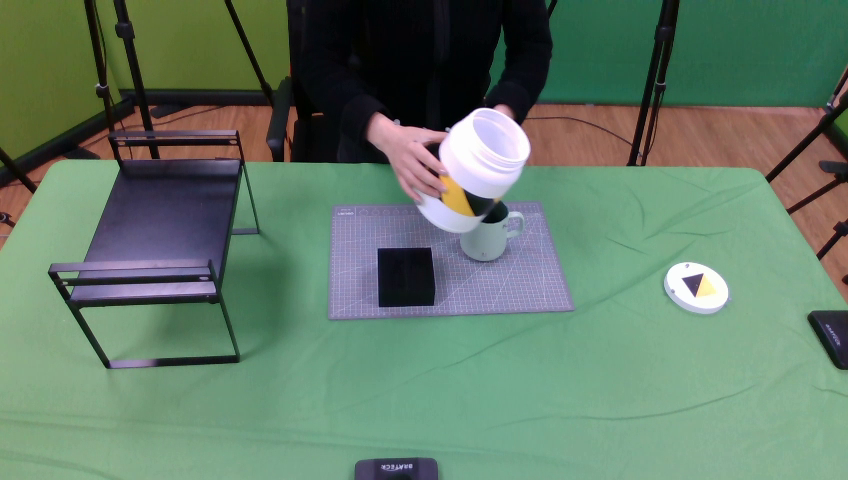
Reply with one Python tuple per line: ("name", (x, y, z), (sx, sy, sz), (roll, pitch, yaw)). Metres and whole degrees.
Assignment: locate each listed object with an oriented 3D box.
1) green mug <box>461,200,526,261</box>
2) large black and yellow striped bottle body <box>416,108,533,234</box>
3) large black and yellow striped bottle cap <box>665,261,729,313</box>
("green mug", (0.136, -0.024, 1.168), (0.125, 0.105, 0.092), (-7, 47, -10))
("large black and yellow striped bottle body", (0.081, -0.111, 0.979), (0.131, 0.184, 0.130), (17, 49, -20))
("large black and yellow striped bottle cap", (0.518, 0.087, 1.152), (0.115, 0.019, 0.114), (2, 47, -2))
